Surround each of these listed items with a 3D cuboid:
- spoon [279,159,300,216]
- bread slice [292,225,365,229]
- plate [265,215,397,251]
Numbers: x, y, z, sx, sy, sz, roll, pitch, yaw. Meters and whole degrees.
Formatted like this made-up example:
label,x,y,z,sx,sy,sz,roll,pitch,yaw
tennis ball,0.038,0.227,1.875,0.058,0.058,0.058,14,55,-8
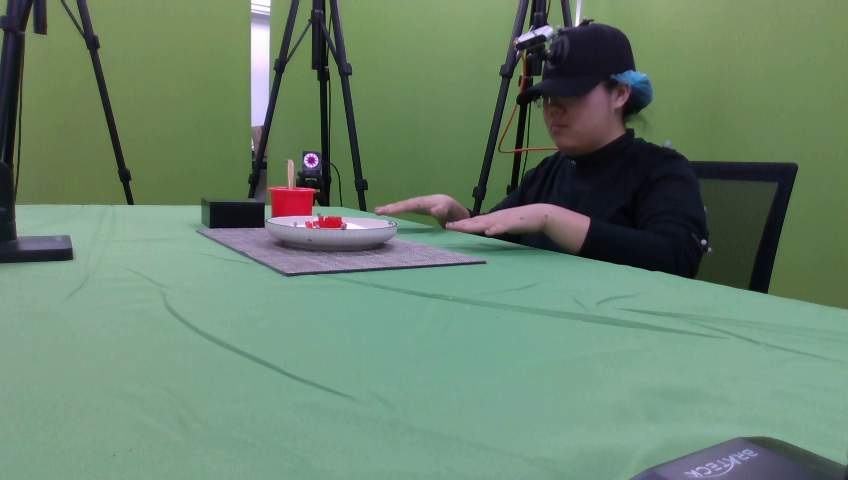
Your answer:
label,x,y,z,sx,sy,sz,roll,pitch,yaw
spoon,-0.282,-0.108,1.276,0.042,0.021,0.193,-1,52,-10
bread slice,-0.154,-0.012,0.973,0.132,0.019,0.104,-1,7,-31
plate,-0.147,-0.012,0.963,0.209,0.038,0.209,3,7,0
